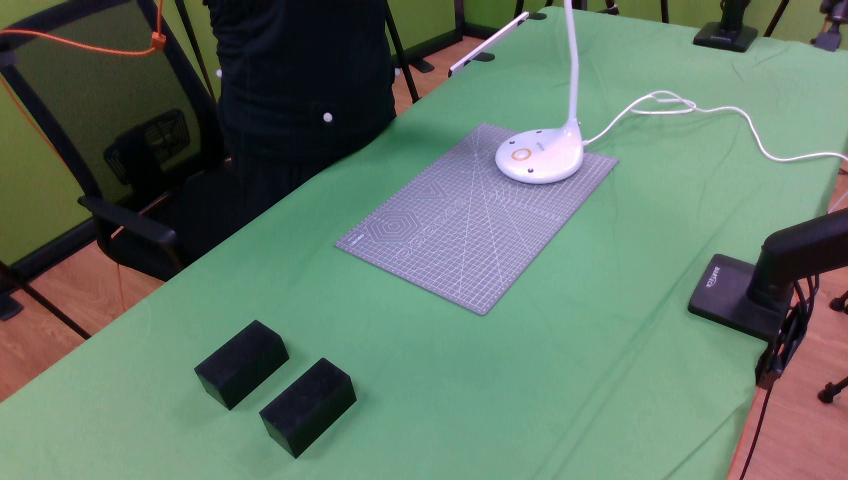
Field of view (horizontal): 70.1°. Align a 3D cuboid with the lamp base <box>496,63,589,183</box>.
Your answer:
[{"bbox_3d":[0.216,-0.217,1.067,0.180,0.181,0.159,-19,42,-18],"label":"lamp base"}]
